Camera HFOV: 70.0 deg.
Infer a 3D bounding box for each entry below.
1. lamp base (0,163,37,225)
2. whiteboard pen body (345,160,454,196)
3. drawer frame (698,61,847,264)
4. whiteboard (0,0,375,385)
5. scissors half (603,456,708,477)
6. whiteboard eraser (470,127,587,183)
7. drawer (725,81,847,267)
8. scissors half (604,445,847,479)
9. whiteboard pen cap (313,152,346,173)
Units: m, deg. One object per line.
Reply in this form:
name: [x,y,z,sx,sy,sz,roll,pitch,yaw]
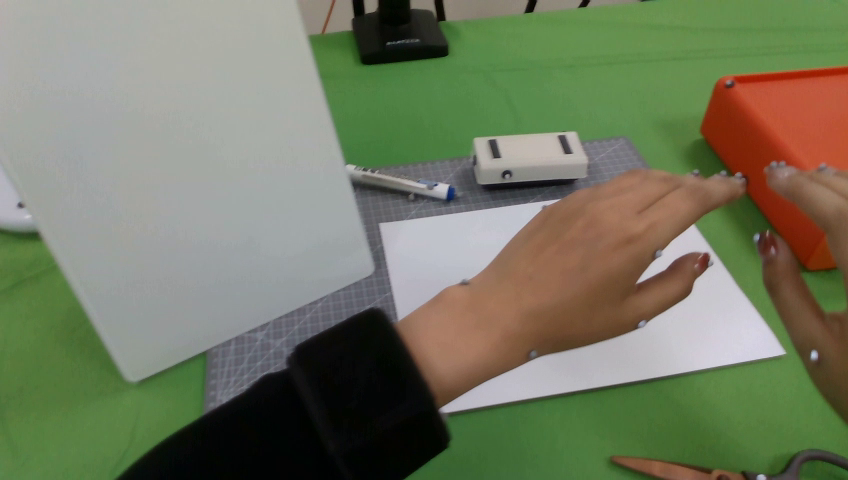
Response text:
lamp base: [-0.390,-0.131,0.572,0.178,0.182,0.160,22,50,23]
whiteboard pen body: [-0.039,-0.065,0.616,0.140,0.017,0.017,13,47,8]
drawer frame: [0.418,-0.084,0.596,0.202,0.083,0.211,-7,46,-6]
whiteboard: [-0.195,-0.085,0.482,0.217,0.308,0.142,-24,31,-20]
scissors half: [0.208,0.173,0.404,0.174,0.013,0.040,15,63,16]
whiteboard eraser: [0.106,-0.085,0.622,0.113,0.042,0.055,-5,45,-4]
drawer: [0.419,-0.078,0.593,0.195,0.074,0.209,-6,46,-5]
scissors half: [0.213,0.157,0.413,0.175,0.013,0.040,1,55,7]
whiteboard pen cap: [-0.096,-0.079,0.624,0.033,0.018,0.018,12,47,5]
